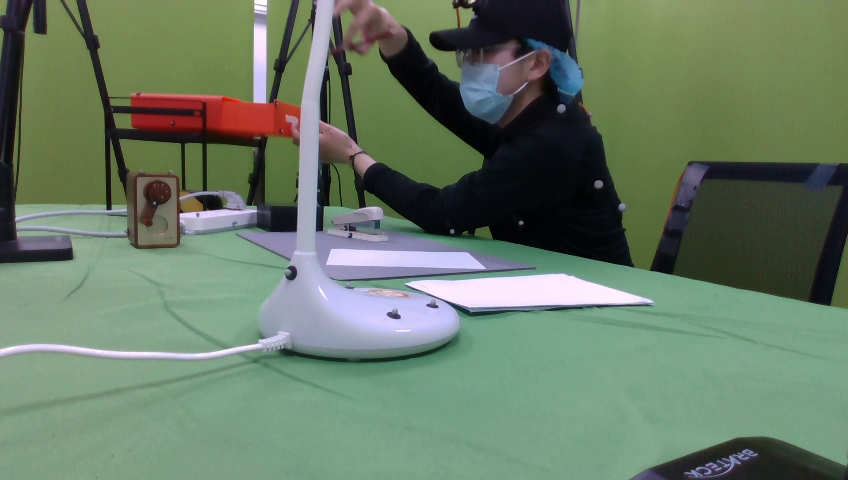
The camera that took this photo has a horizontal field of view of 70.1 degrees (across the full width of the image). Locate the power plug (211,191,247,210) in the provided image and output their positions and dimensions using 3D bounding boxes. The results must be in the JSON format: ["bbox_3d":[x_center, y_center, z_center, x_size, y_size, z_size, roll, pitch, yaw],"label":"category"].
[{"bbox_3d":[-0.386,-0.071,1.204,0.072,0.052,0.035,7,9,27],"label":"power plug"}]

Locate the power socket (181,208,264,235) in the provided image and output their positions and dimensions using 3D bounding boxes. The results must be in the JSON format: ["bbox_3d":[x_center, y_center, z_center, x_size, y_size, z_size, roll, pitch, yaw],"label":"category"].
[{"bbox_3d":[-0.381,-0.038,1.129,0.072,0.032,0.227,4,8,17],"label":"power socket"}]

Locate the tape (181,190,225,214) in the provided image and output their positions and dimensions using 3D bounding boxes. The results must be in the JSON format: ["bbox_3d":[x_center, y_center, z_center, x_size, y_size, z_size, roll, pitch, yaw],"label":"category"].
[{"bbox_3d":[-0.515,-0.086,1.388,0.117,0.052,0.117,4,7,0],"label":"tape"}]

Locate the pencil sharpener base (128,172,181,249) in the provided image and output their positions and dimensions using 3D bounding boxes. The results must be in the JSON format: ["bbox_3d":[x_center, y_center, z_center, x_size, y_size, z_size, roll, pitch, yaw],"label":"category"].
[{"bbox_3d":[-0.395,-0.044,0.887,0.062,0.107,0.076,-2,9,-34],"label":"pencil sharpener base"}]

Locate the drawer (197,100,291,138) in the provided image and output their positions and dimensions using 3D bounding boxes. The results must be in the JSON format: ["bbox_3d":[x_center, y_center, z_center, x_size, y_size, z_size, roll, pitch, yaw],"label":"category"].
[{"bbox_3d":[-0.390,-0.270,1.360,0.211,0.073,0.195,2,8,10],"label":"drawer"}]

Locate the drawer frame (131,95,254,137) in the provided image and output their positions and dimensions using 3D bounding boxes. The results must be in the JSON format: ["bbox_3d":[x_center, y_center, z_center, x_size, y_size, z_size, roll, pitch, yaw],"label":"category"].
[{"bbox_3d":[-0.507,-0.280,1.377,0.213,0.082,0.202,3,8,8],"label":"drawer frame"}]

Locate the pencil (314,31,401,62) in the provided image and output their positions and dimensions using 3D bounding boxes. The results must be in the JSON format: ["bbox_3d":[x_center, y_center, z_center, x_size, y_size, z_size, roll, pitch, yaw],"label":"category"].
[{"bbox_3d":[-0.120,-0.345,1.075,0.193,0.012,0.012,-7,2,31],"label":"pencil"}]

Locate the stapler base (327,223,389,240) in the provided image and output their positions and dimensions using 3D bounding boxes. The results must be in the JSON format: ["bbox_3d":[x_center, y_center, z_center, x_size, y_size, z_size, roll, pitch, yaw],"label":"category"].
[{"bbox_3d":[-0.117,-0.018,1.073,0.130,0.024,0.041,7,7,41],"label":"stapler base"}]

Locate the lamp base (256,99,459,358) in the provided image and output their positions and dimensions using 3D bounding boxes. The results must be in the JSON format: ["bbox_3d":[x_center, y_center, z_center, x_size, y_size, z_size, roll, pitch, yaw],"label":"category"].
[{"bbox_3d":[-0.055,-0.013,0.463,0.160,0.180,0.180,6,11,27],"label":"lamp base"}]

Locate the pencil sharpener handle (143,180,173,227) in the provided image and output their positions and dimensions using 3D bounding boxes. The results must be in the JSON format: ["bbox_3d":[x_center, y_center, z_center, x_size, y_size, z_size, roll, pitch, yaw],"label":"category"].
[{"bbox_3d":[-0.371,-0.050,0.840,0.036,0.067,0.030,24,-6,-34],"label":"pencil sharpener handle"}]

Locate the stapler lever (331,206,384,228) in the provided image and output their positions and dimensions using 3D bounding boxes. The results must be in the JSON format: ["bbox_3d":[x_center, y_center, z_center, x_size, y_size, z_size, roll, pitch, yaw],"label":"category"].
[{"bbox_3d":[-0.118,-0.043,1.070,0.117,0.040,0.027,7,8,41],"label":"stapler lever"}]
